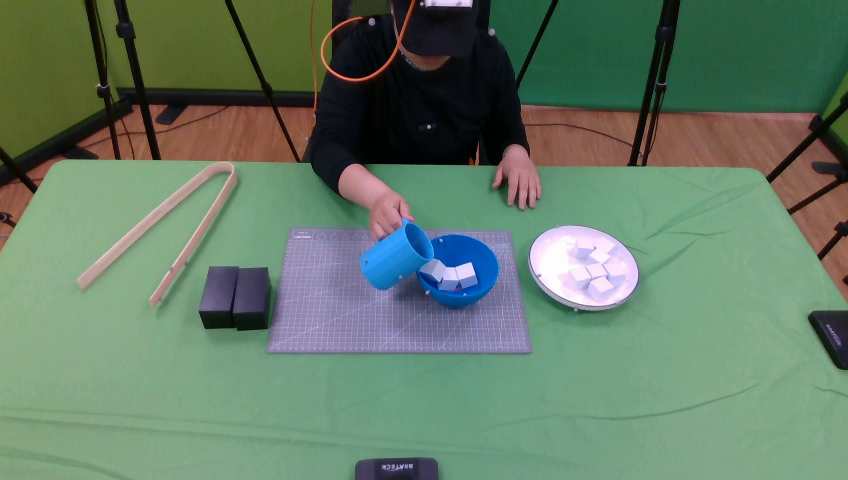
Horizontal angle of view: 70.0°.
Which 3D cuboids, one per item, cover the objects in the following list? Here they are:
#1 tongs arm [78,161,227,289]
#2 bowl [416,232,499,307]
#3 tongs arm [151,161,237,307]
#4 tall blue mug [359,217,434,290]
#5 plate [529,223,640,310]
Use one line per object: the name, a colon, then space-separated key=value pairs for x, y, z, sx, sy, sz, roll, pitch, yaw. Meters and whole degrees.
tongs arm: x=-0.524 y=-0.043 z=1.196 sx=0.028 sy=0.028 sz=0.386 roll=15 pitch=47 yaw=22
bowl: x=0.057 y=0.067 z=1.093 sx=0.151 sy=0.077 sz=0.150 roll=2 pitch=47 yaw=-2
tongs arm: x=-0.447 y=-0.026 z=1.180 sx=0.051 sy=0.026 sz=0.383 roll=8 pitch=46 yaw=10
tall blue mug: x=-0.054 y=0.014 z=1.041 sx=0.078 sy=0.108 sz=0.107 roll=-1 pitch=60 yaw=-59
plate: x=0.303 y=0.053 z=1.156 sx=0.209 sy=0.038 sz=0.208 roll=2 pitch=46 yaw=-1
